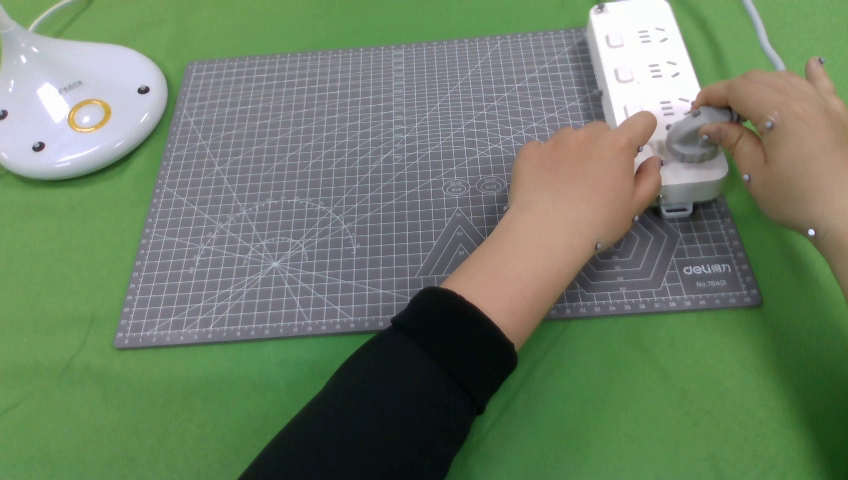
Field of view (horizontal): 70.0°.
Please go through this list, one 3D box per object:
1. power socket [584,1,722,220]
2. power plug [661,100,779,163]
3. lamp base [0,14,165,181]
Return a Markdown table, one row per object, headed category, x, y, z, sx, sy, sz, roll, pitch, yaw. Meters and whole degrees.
| category | x | y | z | sx | sy | sz | roll | pitch | yaw |
| --- | --- | --- | --- | --- | --- | --- | --- | --- | --- |
| power socket | 0.181 | -0.118 | 0.497 | 0.072 | 0.033 | 0.224 | -4 | 57 | 6 |
| power plug | 0.207 | -0.070 | 0.431 | 0.072 | 0.053 | 0.035 | 5 | 59 | 17 |
| lamp base | -0.332 | -0.165 | 0.489 | 0.178 | 0.182 | 0.160 | 30 | 64 | 25 |
